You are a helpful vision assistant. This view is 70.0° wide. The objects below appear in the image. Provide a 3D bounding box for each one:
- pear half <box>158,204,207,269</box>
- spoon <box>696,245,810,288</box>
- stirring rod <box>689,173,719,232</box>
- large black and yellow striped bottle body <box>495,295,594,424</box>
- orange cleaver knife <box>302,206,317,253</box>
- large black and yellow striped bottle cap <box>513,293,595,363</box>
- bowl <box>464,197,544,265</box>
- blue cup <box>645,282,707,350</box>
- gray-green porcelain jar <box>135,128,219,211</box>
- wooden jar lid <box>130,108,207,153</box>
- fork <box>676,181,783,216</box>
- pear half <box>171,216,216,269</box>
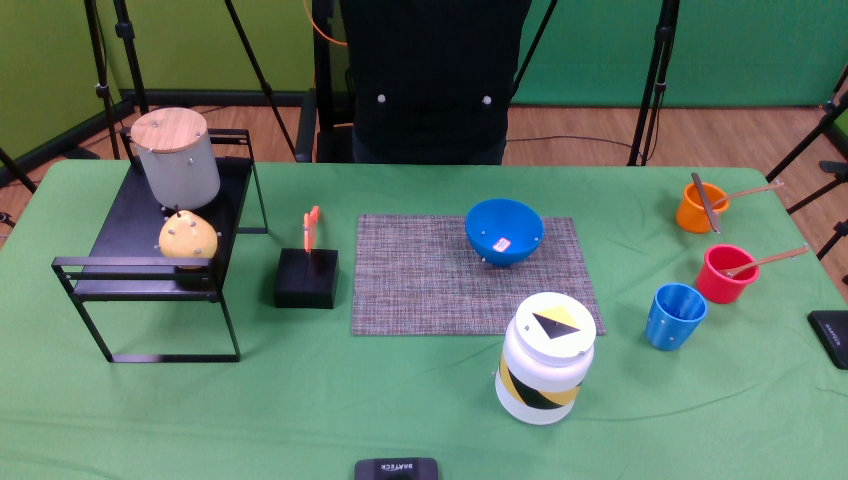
[{"bbox_3d":[-0.352,-0.015,0.873,0.056,0.110,0.076,25,45,19],"label":"pear half"},{"bbox_3d":[0.601,0.047,1.114,0.193,0.022,0.041,-26,36,33],"label":"spoon"},{"bbox_3d":[0.566,-0.080,1.225,0.014,0.006,0.175,2,46,2],"label":"stirring rod"},{"bbox_3d":[0.183,0.182,0.923,0.131,0.185,0.130,2,46,-2],"label":"large black and yellow striped bottle body"},{"bbox_3d":[-0.217,-0.024,1.150,0.012,0.077,0.210,-3,11,-5],"label":"orange cleaver knife"},{"bbox_3d":[0.186,0.123,0.863,0.115,0.019,0.114,3,45,-3],"label":"large black and yellow striped bottle cap"},{"bbox_3d":[0.149,-0.004,1.167,0.151,0.077,0.150,2,46,-2],"label":"bowl"},{"bbox_3d":[0.425,0.136,1.042,0.092,0.101,0.092,1,44,-1],"label":"blue cup"},{"bbox_3d":[-0.386,-0.118,0.959,0.106,0.127,0.105,2,46,-2],"label":"gray-green porcelain jar"},{"bbox_3d":[-0.384,-0.162,0.914,0.108,0.021,0.107,4,46,-4],"label":"wooden jar lid"},{"bbox_3d":[0.618,-0.084,1.235,0.207,0.019,0.028,-23,21,38],"label":"fork"},{"bbox_3d":[-0.323,0.007,0.867,0.031,0.088,0.070,25,46,21],"label":"pear half"}]
